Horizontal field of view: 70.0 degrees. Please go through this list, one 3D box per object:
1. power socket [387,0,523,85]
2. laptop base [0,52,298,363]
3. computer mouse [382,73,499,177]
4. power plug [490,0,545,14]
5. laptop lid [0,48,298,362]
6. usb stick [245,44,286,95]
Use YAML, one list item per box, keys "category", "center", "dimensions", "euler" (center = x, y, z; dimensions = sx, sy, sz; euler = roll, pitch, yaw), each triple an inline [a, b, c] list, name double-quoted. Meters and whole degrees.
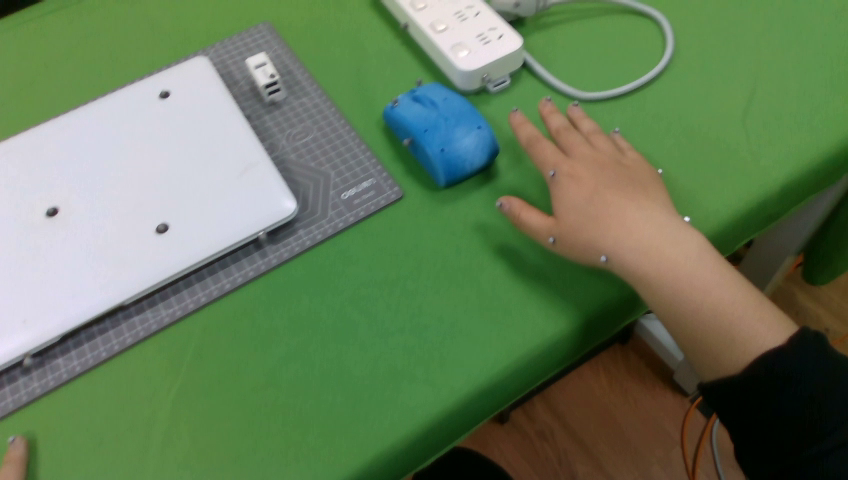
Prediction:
- category: "power socket"
  center: [0.017, -0.237, 0.612]
  dimensions: [0.072, 0.033, 0.224]
  euler: [-28, 58, -10]
- category: "laptop base"
  center: [-0.308, -0.024, 0.521]
  dimensions: [0.354, 0.023, 0.233]
  euler: [-30, 62, -12]
- category: "computer mouse"
  center: [0.011, -0.107, 0.527]
  dimensions: [0.063, 0.041, 0.116]
  euler: [-31, 55, -10]
- category: "power plug"
  center: [0.101, -0.247, 0.616]
  dimensions: [0.073, 0.035, 0.052]
  euler: [0, 31, -19]
- category: "laptop lid"
  center: [-0.308, -0.028, 0.510]
  dimensions: [0.357, 0.013, 0.239]
  euler: [-28, 61, -11]
- category: "usb stick"
  center: [-0.157, -0.170, 0.590]
  dimensions: [0.021, 0.027, 0.058]
  euler: [-29, 56, -9]
